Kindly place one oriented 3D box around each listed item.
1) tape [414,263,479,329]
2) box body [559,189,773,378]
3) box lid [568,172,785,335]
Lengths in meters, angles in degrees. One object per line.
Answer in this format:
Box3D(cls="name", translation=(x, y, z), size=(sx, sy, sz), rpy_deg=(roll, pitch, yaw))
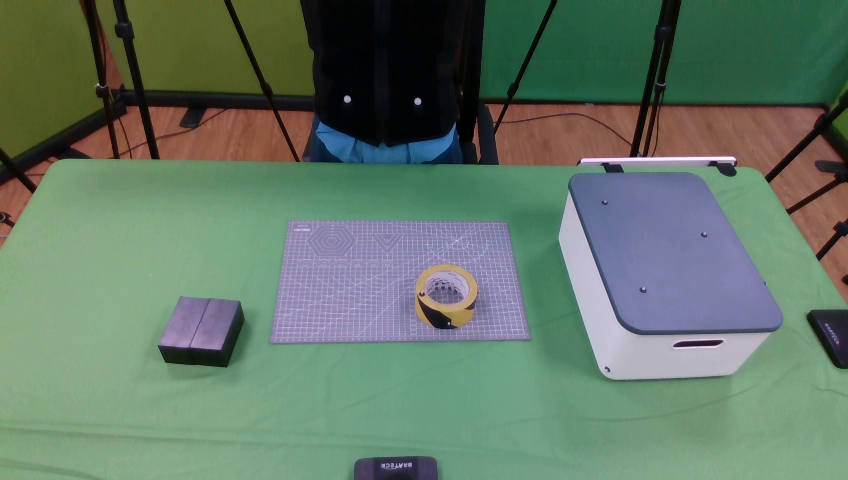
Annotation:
Box3D(cls="tape", translation=(0.038, 0.099, 1.079), size=(0.117, 0.053, 0.116), rpy_deg=(3, 46, -2))
Box3D(cls="box body", translation=(0.405, 0.057, 1.074), size=(0.254, 0.161, 0.361), rpy_deg=(-2, 46, -5))
Box3D(cls="box lid", translation=(0.407, 0.007, 1.019), size=(0.263, 0.015, 0.369), rpy_deg=(-1, 46, -5))
